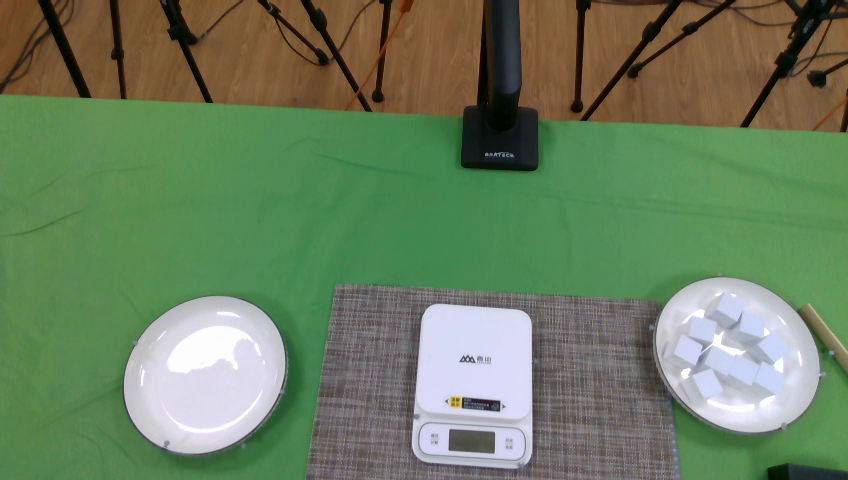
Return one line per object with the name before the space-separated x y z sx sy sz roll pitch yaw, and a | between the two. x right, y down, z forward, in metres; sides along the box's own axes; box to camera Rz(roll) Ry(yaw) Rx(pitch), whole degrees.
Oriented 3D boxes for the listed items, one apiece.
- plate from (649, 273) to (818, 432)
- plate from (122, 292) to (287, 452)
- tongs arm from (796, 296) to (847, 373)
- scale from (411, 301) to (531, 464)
plate | 0.394 0.145 0.787 0.208 0.039 0.206 0 64 1
plate | -0.280 0.170 0.789 0.209 0.038 0.207 0 65 1
tongs arm | 0.598 0.232 0.746 0.028 0.028 0.384 -24 67 -13
scale | 0.063 0.178 0.777 0.148 0.032 0.199 3 65 3
